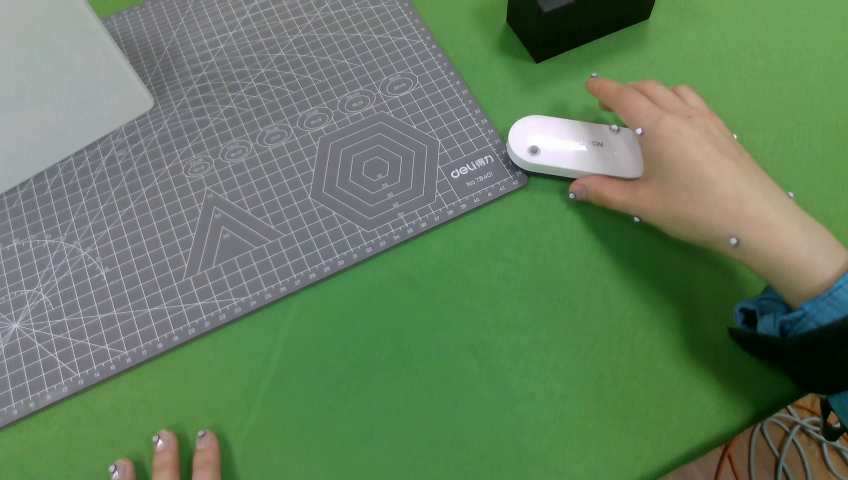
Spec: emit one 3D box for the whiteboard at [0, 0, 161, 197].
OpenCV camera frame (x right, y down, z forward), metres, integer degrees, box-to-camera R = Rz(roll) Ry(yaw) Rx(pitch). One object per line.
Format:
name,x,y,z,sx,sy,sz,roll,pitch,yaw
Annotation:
whiteboard,-0.354,-0.176,0.360,0.217,0.309,0.142,-34,48,-12

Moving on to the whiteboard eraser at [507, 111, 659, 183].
whiteboard eraser,0.108,-0.064,0.413,0.101,0.019,0.041,9,65,6
